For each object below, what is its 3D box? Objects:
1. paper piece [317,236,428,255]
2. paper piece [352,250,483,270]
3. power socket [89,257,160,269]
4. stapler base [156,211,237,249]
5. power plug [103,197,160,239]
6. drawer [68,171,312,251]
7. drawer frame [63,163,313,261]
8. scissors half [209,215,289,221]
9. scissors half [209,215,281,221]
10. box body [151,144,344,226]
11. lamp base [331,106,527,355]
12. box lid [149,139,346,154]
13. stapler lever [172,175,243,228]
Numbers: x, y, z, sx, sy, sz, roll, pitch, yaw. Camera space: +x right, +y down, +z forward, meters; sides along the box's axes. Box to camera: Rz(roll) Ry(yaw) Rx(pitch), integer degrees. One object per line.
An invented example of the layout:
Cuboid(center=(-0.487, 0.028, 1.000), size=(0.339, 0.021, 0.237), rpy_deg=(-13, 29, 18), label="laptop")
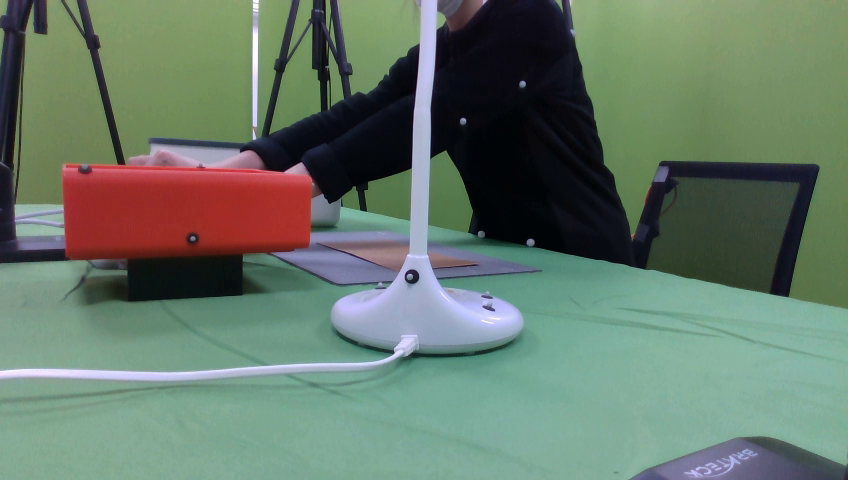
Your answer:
Cuboid(center=(-0.083, 0.008, 0.950), size=(0.136, 0.004, 0.134), rpy_deg=(-4, 11, -29), label="paper piece")
Cuboid(center=(-0.013, 0.026, 0.841), size=(0.139, 0.008, 0.135), rpy_deg=(-1, 11, -32), label="paper piece")
Cuboid(center=(-0.408, 0.004, 0.793), size=(0.072, 0.032, 0.225), rpy_deg=(-2, 8, -38), label="power socket")
Cuboid(center=(-0.227, -0.017, 0.624), size=(0.041, 0.024, 0.130), rpy_deg=(19, 9, -2), label="stapler base")
Cuboid(center=(-0.390, -0.029, 0.811), size=(0.073, 0.052, 0.035), rpy_deg=(-6, 16, -26), label="power plug")
Cuboid(center=(-0.247, -0.036, 0.629), size=(0.213, 0.073, 0.193), rpy_deg=(-3, 9, -30), label="drawer")
Cuboid(center=(-0.248, -0.036, 0.626), size=(0.215, 0.082, 0.200), rpy_deg=(-3, 9, -31), label="drawer frame")
Cuboid(center=(-0.357, -0.044, 1.235), size=(0.175, 0.013, 0.040), rpy_deg=(1, -3, 9), label="scissors half")
Cuboid(center=(-0.364, -0.044, 1.215), size=(0.174, 0.013, 0.040), rpy_deg=(0, 2, 26), label="scissors half")
Cuboid(center=(-0.370, -0.119, 1.264), size=(0.366, 0.160, 0.253), rpy_deg=(-1, 8, -24), label="box body")
Cuboid(center=(0.006, -0.012, 0.478), size=(0.161, 0.180, 0.179), rpy_deg=(2, 10, 2), label="lamp base")
Cuboid(center=(-0.365, -0.191, 1.255), size=(0.373, 0.015, 0.262), rpy_deg=(-1, 8, -24), label="box lid")
Cuboid(center=(-0.217, -0.042, 0.618), size=(0.027, 0.040, 0.118), rpy_deg=(19, 11, -2), label="stapler lever")
